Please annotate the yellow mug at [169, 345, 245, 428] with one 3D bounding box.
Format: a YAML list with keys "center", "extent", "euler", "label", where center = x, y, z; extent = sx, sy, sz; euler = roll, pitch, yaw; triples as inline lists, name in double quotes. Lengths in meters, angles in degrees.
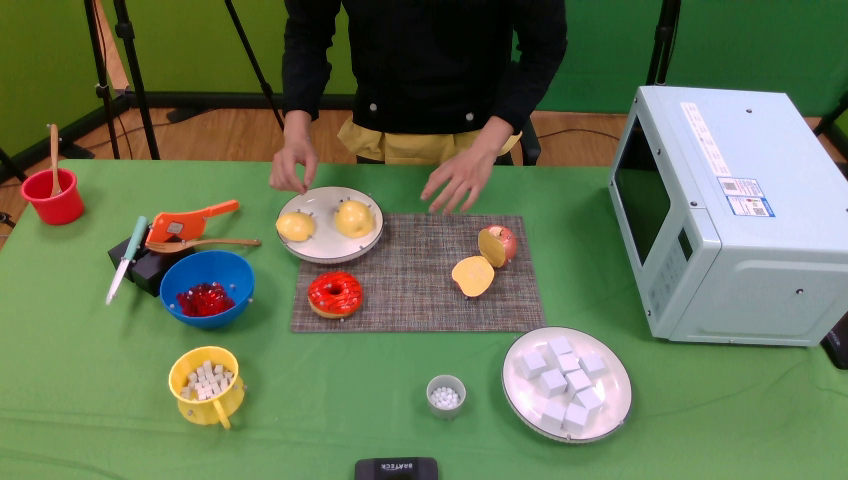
- center: [-0.322, 0.230, 0.922]
  extent: [0.100, 0.064, 0.130]
  euler: [-24, 53, -25]
  label: "yellow mug"

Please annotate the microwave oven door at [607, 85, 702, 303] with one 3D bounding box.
- center: [0.423, -0.094, 1.140]
  extent: [0.039, 0.245, 0.353]
  euler: [2, 46, -1]
  label: "microwave oven door"

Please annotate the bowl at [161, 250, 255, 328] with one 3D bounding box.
- center: [-0.362, 0.097, 1.040]
  extent: [0.151, 0.077, 0.150]
  euler: [2, 45, -2]
  label: "bowl"

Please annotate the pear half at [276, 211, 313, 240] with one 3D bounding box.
- center: [-0.244, -0.036, 1.179]
  extent: [0.070, 0.031, 0.088]
  euler: [44, 42, 2]
  label: "pear half"

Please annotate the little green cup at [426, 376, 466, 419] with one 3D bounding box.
- center: [0.033, 0.248, 0.950]
  extent: [0.061, 0.039, 0.061]
  euler: [2, 46, -2]
  label: "little green cup"

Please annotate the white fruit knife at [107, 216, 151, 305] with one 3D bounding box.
- center: [-0.518, 0.032, 1.066]
  extent: [0.027, 0.016, 0.206]
  euler: [-18, 45, 19]
  label: "white fruit knife"

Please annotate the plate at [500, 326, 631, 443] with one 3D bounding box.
- center: [0.224, 0.233, 0.978]
  extent: [0.208, 0.039, 0.206]
  euler: [2, 46, -2]
  label: "plate"

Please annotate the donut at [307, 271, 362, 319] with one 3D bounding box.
- center: [-0.157, 0.097, 1.073]
  extent: [0.099, 0.048, 0.098]
  euler: [4, 45, -4]
  label: "donut"

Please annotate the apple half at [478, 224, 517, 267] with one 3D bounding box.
- center: [0.148, 0.008, 1.160]
  extent: [0.053, 0.075, 0.080]
  euler: [-24, 48, -30]
  label: "apple half"

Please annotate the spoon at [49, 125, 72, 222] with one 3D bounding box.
- center: [-0.717, -0.131, 1.189]
  extent: [0.041, 0.021, 0.193]
  euler: [-3, 90, -6]
  label: "spoon"

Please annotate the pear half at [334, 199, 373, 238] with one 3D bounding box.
- center: [-0.147, -0.060, 1.210]
  extent: [0.076, 0.056, 0.109]
  euler: [-16, 46, -25]
  label: "pear half"

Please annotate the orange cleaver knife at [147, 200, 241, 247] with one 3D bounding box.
- center: [-0.434, -0.033, 1.156]
  extent: [0.012, 0.077, 0.211]
  euler: [31, 27, 19]
  label: "orange cleaver knife"

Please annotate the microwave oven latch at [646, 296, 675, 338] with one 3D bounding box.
- center: [0.412, 0.134, 1.061]
  extent: [0.030, 0.029, 0.078]
  euler: [3, 45, 0]
  label: "microwave oven latch"

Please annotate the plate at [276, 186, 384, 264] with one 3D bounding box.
- center: [-0.184, -0.027, 1.195]
  extent: [0.209, 0.038, 0.208]
  euler: [2, 46, -2]
  label: "plate"

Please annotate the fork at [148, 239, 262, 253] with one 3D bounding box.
- center: [-0.398, 0.008, 1.117]
  extent: [0.208, 0.019, 0.028]
  euler: [-5, 34, -37]
  label: "fork"

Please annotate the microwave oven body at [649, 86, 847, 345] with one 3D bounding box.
- center: [0.568, -0.053, 1.118]
  extent: [0.326, 0.261, 0.439]
  euler: [2, 45, -1]
  label: "microwave oven body"

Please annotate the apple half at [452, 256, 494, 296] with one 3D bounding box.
- center: [0.095, 0.069, 1.120]
  extent: [0.081, 0.033, 0.081]
  euler: [-7, 63, 13]
  label: "apple half"
